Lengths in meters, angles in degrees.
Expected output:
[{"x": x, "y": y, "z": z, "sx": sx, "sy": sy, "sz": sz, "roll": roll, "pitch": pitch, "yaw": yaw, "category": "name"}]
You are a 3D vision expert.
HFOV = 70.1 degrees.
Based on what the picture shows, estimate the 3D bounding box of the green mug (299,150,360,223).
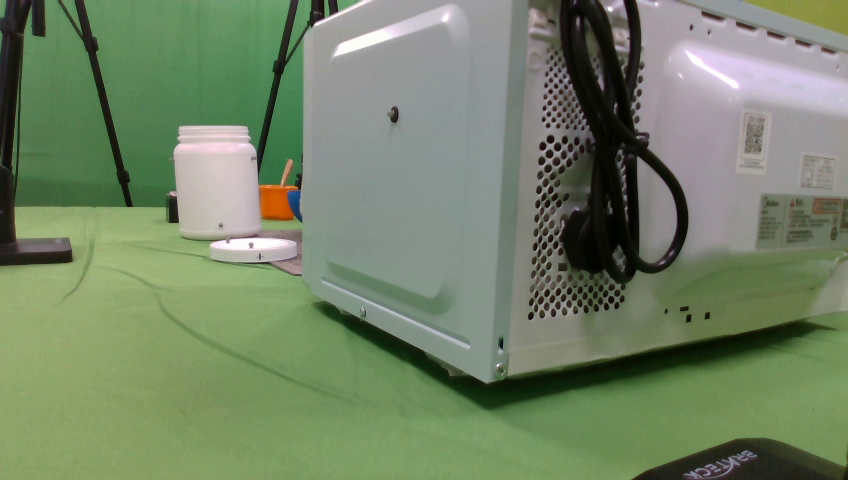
[{"x": -0.138, "y": -0.084, "z": 0.937, "sx": 0.092, "sy": 0.105, "sz": 0.125, "roll": 5, "pitch": 11, "yaw": 17, "category": "green mug"}]

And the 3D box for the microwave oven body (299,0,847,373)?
[{"x": 0.151, "y": -0.055, "z": 0.543, "sx": 0.444, "sy": 0.260, "sz": 0.324, "roll": -1, "pitch": 7, "yaw": -33, "category": "microwave oven body"}]

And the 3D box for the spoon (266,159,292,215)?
[{"x": -0.334, "y": -0.127, "z": 1.423, "sx": 0.041, "sy": 0.193, "sz": 0.022, "roll": 0, "pitch": -38, "yaw": 7, "category": "spoon"}]

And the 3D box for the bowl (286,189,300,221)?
[{"x": -0.179, "y": -0.051, "z": 1.115, "sx": 0.151, "sy": 0.077, "sz": 0.151, "roll": 3, "pitch": 8, "yaw": 0, "category": "bowl"}]

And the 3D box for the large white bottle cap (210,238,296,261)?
[{"x": -0.236, "y": 0.012, "z": 0.839, "sx": 0.115, "sy": 0.018, "sz": 0.115, "roll": 1, "pitch": 7, "yaw": 0, "category": "large white bottle cap"}]

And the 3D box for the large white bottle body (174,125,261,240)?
[{"x": -0.349, "y": -0.100, "z": 1.025, "sx": 0.131, "sy": 0.184, "sz": 0.130, "roll": -1, "pitch": 9, "yaw": 0, "category": "large white bottle body"}]

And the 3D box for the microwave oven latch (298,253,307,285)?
[{"x": -0.081, "y": 0.027, "z": 0.583, "sx": 0.079, "sy": 0.029, "sz": 0.030, "roll": -2, "pitch": 7, "yaw": -33, "category": "microwave oven latch"}]

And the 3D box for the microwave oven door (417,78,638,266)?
[{"x": 0.132, "y": -0.105, "z": 0.893, "sx": 0.354, "sy": 0.243, "sz": 0.039, "roll": 9, "pitch": 10, "yaw": 43, "category": "microwave oven door"}]

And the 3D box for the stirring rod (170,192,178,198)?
[{"x": -0.466, "y": -0.098, "z": 1.283, "sx": 0.014, "sy": 0.006, "sz": 0.177, "roll": 42, "pitch": 21, "yaw": 17, "category": "stirring rod"}]
